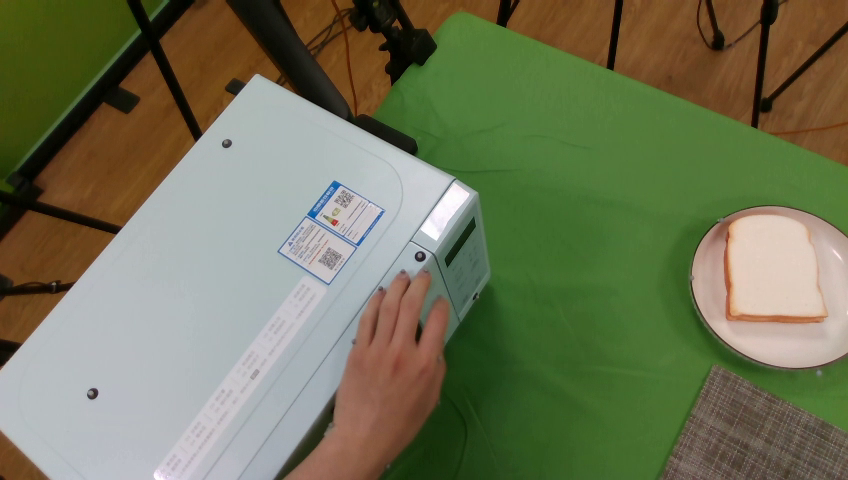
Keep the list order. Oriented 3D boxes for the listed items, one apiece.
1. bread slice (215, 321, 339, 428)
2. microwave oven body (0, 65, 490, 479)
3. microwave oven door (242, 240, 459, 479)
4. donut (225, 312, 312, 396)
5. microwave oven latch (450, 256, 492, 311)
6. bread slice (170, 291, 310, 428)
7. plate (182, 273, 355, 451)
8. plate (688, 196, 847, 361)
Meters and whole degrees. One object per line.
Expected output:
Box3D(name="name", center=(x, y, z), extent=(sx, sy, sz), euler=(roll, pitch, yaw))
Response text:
Box3D(name="bread slice", center=(-0.184, 0.168, 0.743), extent=(0.132, 0.019, 0.104), euler=(-25, 65, -29))
Box3D(name="microwave oven body", center=(-0.178, 0.086, 0.695), extent=(0.324, 0.262, 0.440), euler=(30, 76, 19))
Box3D(name="microwave oven door", center=(-0.084, 0.186, 0.633), extent=(0.039, 0.246, 0.355), euler=(30, 75, 19))
Box3D(name="donut", center=(-0.178, 0.132, 0.701), extent=(0.099, 0.048, 0.098), euler=(2, 65, -3))
Box3D(name="microwave oven latch", center=(0.057, 0.051, 0.776), extent=(0.030, 0.030, 0.079), euler=(34, 78, 20))
Box3D(name="bread slice", center=(-0.197, 0.122, 0.675), extent=(0.106, 0.018, 0.134), euler=(39, 71, 11))
Box3D(name="plate", center=(-0.182, 0.142, 0.724), extent=(0.209, 0.038, 0.207), euler=(-2, 71, 6))
Box3D(name="plate", center=(0.428, 0.047, 0.738), extent=(0.207, 0.039, 0.206), euler=(-3, 67, 8))
